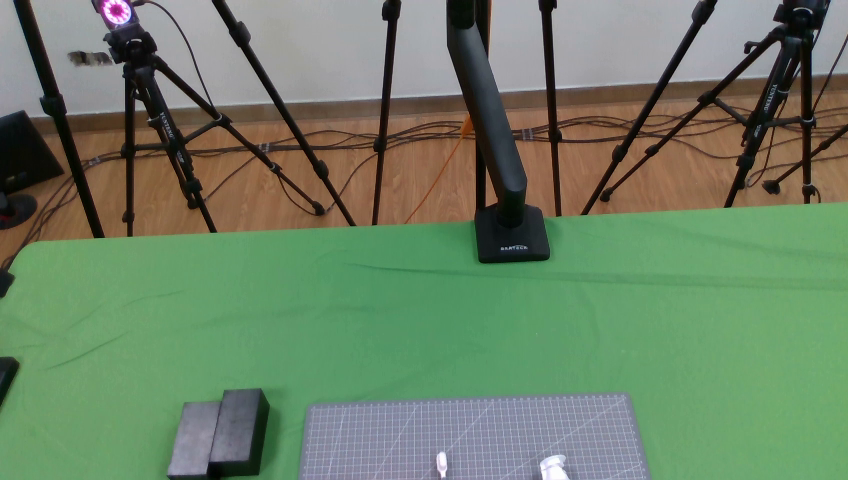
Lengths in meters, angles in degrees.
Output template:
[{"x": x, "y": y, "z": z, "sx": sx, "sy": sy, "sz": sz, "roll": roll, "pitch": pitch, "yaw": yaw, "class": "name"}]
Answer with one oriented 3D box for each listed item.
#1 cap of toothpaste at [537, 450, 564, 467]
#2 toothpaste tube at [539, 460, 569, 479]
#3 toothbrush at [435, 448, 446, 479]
[{"x": 0.161, "y": 0.280, "z": 0.769, "sx": 0.037, "sy": 0.038, "sz": 0.011, "roll": -12, "pitch": 47, "yaw": -7, "class": "cap of toothpaste"}, {"x": 0.163, "y": 0.345, "z": 0.721, "sx": 0.055, "sy": 0.035, "sz": 0.163, "roll": -8, "pitch": 53, "yaw": 6, "class": "toothpaste tube"}, {"x": 0.029, "y": 0.342, "z": 0.737, "sx": 0.014, "sy": 0.017, "sz": 0.180, "roll": 4, "pitch": 50, "yaw": -13, "class": "toothbrush"}]
